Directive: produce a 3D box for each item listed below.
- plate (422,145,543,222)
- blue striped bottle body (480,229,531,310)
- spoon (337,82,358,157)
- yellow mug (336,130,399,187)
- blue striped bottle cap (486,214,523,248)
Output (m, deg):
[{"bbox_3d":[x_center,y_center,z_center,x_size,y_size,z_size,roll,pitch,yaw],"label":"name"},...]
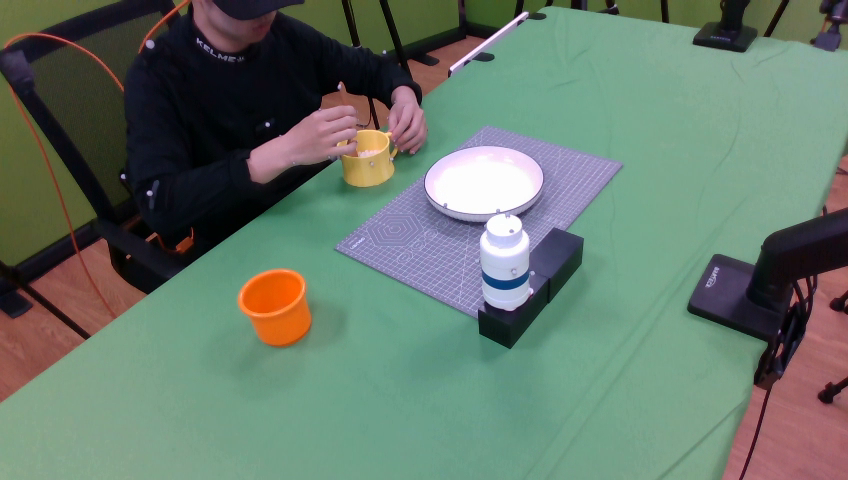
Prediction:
[{"bbox_3d":[0.101,-0.094,1.048,0.207,0.039,0.206,-4,41,4],"label":"plate"},{"bbox_3d":[0.104,0.027,0.769,0.063,0.121,0.063,-4,41,4],"label":"blue striped bottle body"},{"bbox_3d":[-0.135,-0.198,1.077,0.021,0.194,0.041,18,52,14],"label":"spoon"},{"bbox_3d":[-0.099,-0.161,1.138,0.131,0.064,0.099,-33,47,-28],"label":"yellow mug"},{"bbox_3d":[0.098,-0.011,0.735,0.044,0.021,0.044,-3,38,3],"label":"blue striped bottle cap"}]
